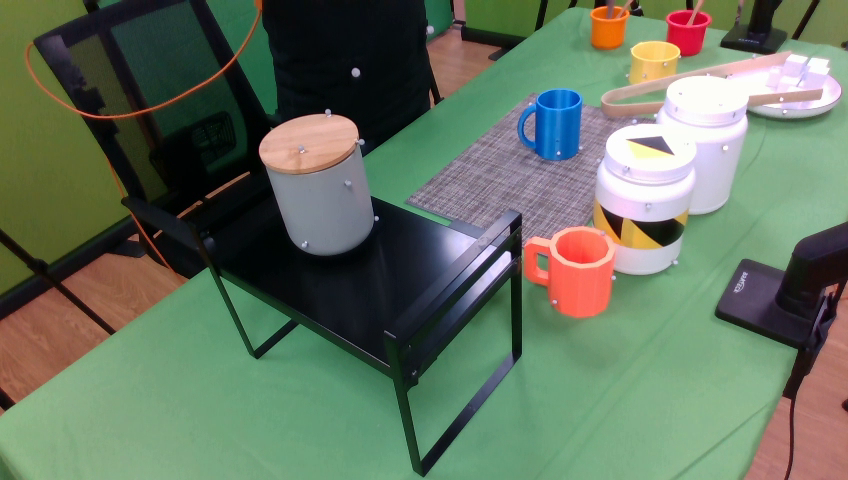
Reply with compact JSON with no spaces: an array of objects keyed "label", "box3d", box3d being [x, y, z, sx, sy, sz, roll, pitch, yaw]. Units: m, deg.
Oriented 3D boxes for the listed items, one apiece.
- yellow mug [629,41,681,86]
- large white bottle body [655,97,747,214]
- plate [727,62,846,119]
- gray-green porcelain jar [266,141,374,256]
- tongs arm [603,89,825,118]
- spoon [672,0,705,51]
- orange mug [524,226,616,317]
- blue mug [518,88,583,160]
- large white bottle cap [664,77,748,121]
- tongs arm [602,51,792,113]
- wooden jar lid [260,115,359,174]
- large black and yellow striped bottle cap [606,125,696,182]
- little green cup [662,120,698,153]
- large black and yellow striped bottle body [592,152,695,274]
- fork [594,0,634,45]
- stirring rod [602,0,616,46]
[{"label":"yellow mug","box3d":[0.495,-0.389,1.321,0.100,0.064,0.130,-14,40,-7]},{"label":"large white bottle body","box3d":[0.431,-0.148,0.959,0.130,0.185,0.130,-4,41,4]},{"label":"plate","box3d":[0.709,-0.292,1.197,0.207,0.039,0.206,-4,40,4]},{"label":"gray-green porcelain jar","box3d":[-0.117,-0.054,0.703,0.106,0.127,0.105,-4,40,4]},{"label":"tongs arm","box3d":[0.546,-0.262,1.163,0.386,0.028,0.028,-1,49,18]},{"label":"spoon","box3d":[0.628,-0.521,1.395,0.041,0.022,0.193,30,97,39]},{"label":"orange mug","box3d":[0.201,0.039,0.845,0.125,0.101,0.083,18,46,21]},{"label":"blue mug","box3d":[0.233,-0.213,1.121,0.116,0.106,0.082,-6,41,3]},{"label":"large white bottle cap","box3d":[0.421,-0.212,0.905,0.115,0.018,0.114,-4,40,4]},{"label":"tongs arm","box3d":[0.552,-0.320,1.224,0.384,0.027,0.050,-10,43,7]},{"label":"wooden jar lid","box3d":[-0.124,-0.101,0.662,0.108,0.021,0.108,-4,41,4]},{"label":"large black and yellow striped bottle cap","box3d":[0.305,-0.119,0.816,0.115,0.019,0.114,-5,41,5]},{"label":"little green cup","box3d":[0.469,-0.191,1.117,0.061,0.039,0.061,-5,41,5]},{"label":"large black and yellow striped bottle body","box3d":[0.313,-0.056,0.872,0.131,0.185,0.130,-4,41,4]},{"label":"fork","box3d":[0.484,-0.552,1.447,0.207,0.019,0.028,-51,47,17]},{"label":"stirring rod","box3d":[0.452,-0.553,1.464,0.014,0.006,0.176,11,86,16]}]
